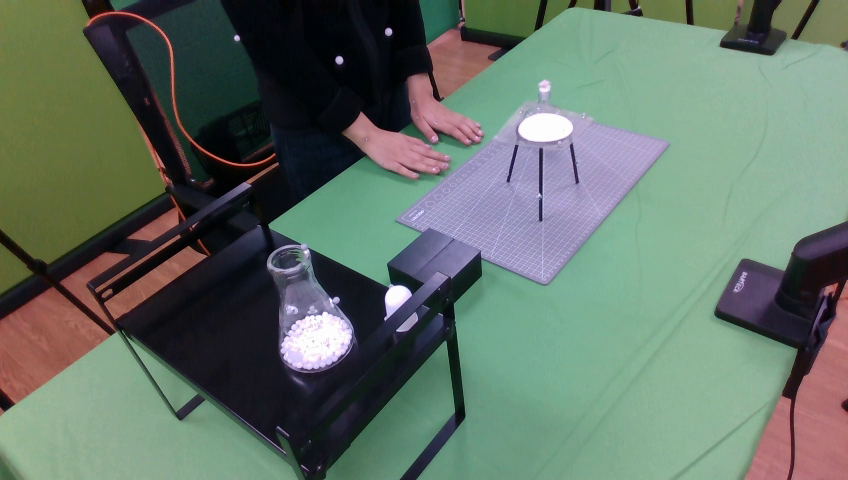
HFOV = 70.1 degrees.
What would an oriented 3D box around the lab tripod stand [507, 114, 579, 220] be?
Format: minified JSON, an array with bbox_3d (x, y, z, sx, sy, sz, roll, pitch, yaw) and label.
[{"bbox_3d":[0.199,-0.128,1.005,0.148,0.132,0.147,-3,42,3],"label":"lab tripod stand"}]

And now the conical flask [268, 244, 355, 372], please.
[{"bbox_3d":[-0.111,0.060,0.564,0.075,0.122,0.075,-5,41,4],"label":"conical flask"}]

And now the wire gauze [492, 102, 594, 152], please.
[{"bbox_3d":[0.191,-0.180,0.964,0.120,0.011,0.125,19,48,28],"label":"wire gauze"}]

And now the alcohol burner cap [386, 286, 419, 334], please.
[{"bbox_3d":[-0.024,0.067,0.604,0.034,0.048,0.033,-5,39,4],"label":"alcohol burner cap"}]

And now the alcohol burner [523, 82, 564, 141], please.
[{"bbox_3d":[0.230,-0.250,1.161,0.078,0.119,0.077,-4,43,4],"label":"alcohol burner"}]
